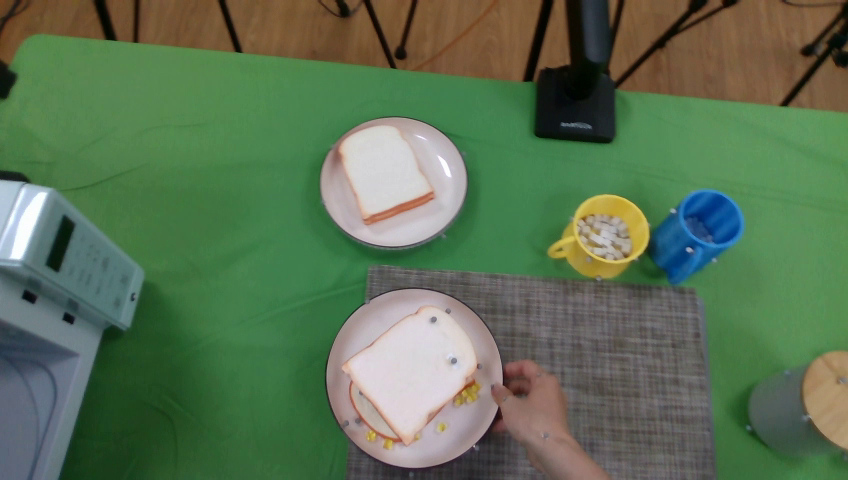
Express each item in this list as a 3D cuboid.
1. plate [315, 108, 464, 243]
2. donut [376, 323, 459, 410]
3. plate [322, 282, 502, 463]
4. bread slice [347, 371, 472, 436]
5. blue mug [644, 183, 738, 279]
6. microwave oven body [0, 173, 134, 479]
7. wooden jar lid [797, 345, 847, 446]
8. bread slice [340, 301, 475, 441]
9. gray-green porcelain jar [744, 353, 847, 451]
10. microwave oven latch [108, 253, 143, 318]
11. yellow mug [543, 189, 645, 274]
[{"bbox_3d":[-0.048,-0.088,0.855,0.208,0.039,0.206,1,68,-2],"label":"plate"},{"bbox_3d":[-0.006,0.143,0.687,0.099,0.048,0.098,9,64,-18],"label":"donut"},{"bbox_3d":[-0.014,0.153,0.712,0.209,0.038,0.207,1,70,-4],"label":"plate"},{"bbox_3d":[-0.022,0.163,0.710,0.131,0.019,0.104,-40,76,-18],"label":"bread slice"},{"bbox_3d":[0.346,-0.002,0.802,0.082,0.106,0.116,24,69,8],"label":"blue mug"},{"bbox_3d":[-0.542,0.168,0.609,0.326,0.261,0.438,6,69,-1],"label":"microwave oven body"},{"bbox_3d":[0.456,0.169,0.660,0.108,0.021,0.107,1,71,-4],"label":"wooden jar lid"},{"bbox_3d":[-0.011,0.131,0.658,0.107,0.018,0.134,46,65,4],"label":"bread slice"},{"bbox_3d":[0.455,0.194,0.719,0.106,0.127,0.105,1,68,-2],"label":"gray-green porcelain jar"},{"bbox_3d":[-0.380,0.057,0.763,0.030,0.029,0.078,9,69,0],"label":"microwave oven latch"},{"bbox_3d":[0.224,-0.007,0.820,0.131,0.064,0.099,-16,69,-7],"label":"yellow mug"}]
